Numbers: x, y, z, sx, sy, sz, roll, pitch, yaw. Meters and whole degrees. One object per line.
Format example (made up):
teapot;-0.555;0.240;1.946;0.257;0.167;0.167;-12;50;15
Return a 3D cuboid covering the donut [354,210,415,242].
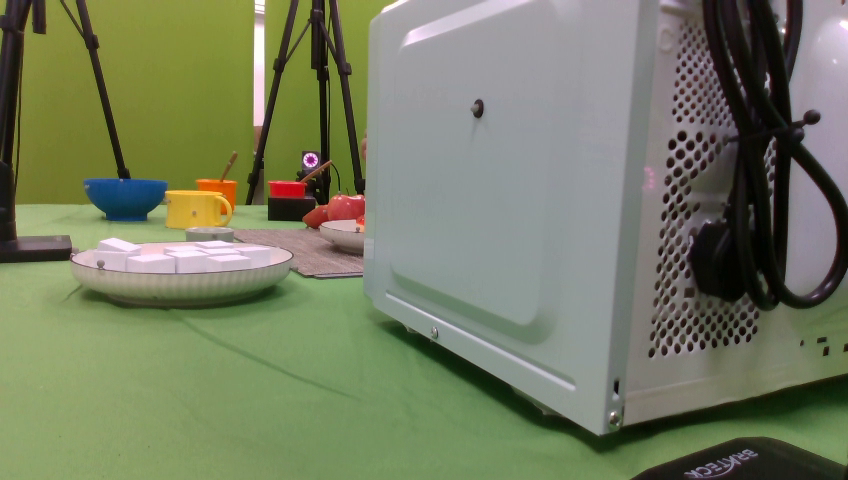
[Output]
donut;-0.062;-0.020;0.955;0.099;0.048;0.099;5;7;0

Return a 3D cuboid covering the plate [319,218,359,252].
plate;-0.059;-0.007;0.939;0.209;0.038;0.209;3;8;0

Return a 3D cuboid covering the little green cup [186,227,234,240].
little green cup;-0.285;0.005;0.805;0.061;0.038;0.061;2;8;0

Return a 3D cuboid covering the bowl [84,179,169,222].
bowl;-0.584;-0.078;1.194;0.151;0.077;0.151;3;8;0

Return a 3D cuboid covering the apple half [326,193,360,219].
apple half;-0.135;-0.047;1.090;0.081;0.074;0.053;5;10;-12

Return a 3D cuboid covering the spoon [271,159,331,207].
spoon;-0.307;-0.141;1.513;0.193;0.021;0.041;-41;4;8

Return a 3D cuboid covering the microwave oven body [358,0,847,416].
microwave oven body;0.211;-0.047;0.474;0.444;0.260;0.324;-1;7;-28

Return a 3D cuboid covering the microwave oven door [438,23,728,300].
microwave oven door;0.181;-0.072;0.621;0.358;0.243;0.039;-2;8;-29

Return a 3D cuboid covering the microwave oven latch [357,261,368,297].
microwave oven latch;-0.019;0.033;0.531;0.079;0.029;0.030;-1;7;-27

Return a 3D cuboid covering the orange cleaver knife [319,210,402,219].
orange cleaver knife;-0.142;-0.057;1.394;0.077;0.012;0.212;1;6;44

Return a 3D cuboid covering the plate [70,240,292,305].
plate;-0.242;0.031;0.618;0.208;0.039;0.207;2;8;0

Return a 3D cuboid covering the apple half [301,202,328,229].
apple half;-0.195;-0.043;1.172;0.081;0.032;0.081;-21;-16;-6

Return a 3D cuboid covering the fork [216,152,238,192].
fork;-0.455;-0.132;1.367;0.028;0.018;0.207;-2;-35;-37

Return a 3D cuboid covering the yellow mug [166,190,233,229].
yellow mug;-0.415;-0.057;1.132;0.130;0.064;0.100;6;8;16
